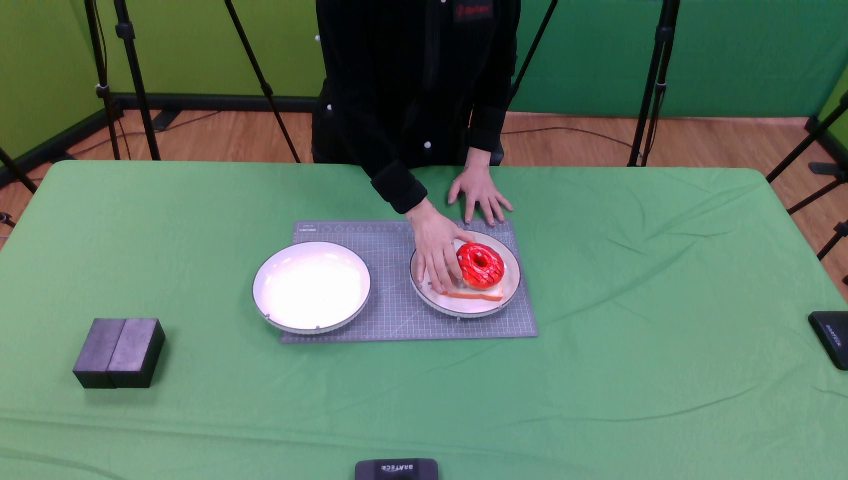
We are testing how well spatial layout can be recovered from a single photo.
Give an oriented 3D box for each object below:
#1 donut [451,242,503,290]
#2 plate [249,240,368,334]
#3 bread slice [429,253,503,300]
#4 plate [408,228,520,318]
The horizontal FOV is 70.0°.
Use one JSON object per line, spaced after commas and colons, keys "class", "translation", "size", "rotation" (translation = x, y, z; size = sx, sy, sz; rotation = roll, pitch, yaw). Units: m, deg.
{"class": "donut", "translation": [0.097, 0.047, 1.101], "size": [0.099, 0.048, 0.098], "rotation": [11, 50, -13]}
{"class": "plate", "translation": [-0.204, 0.087, 1.084], "size": [0.208, 0.039, 0.206], "rotation": [2, 46, -2]}
{"class": "bread slice", "translation": [0.078, 0.068, 1.126], "size": [0.134, 0.018, 0.106], "rotation": [1, 44, -4]}
{"class": "plate", "translation": [0.073, 0.063, 1.127], "size": [0.209, 0.038, 0.208], "rotation": [2, 46, -2]}
